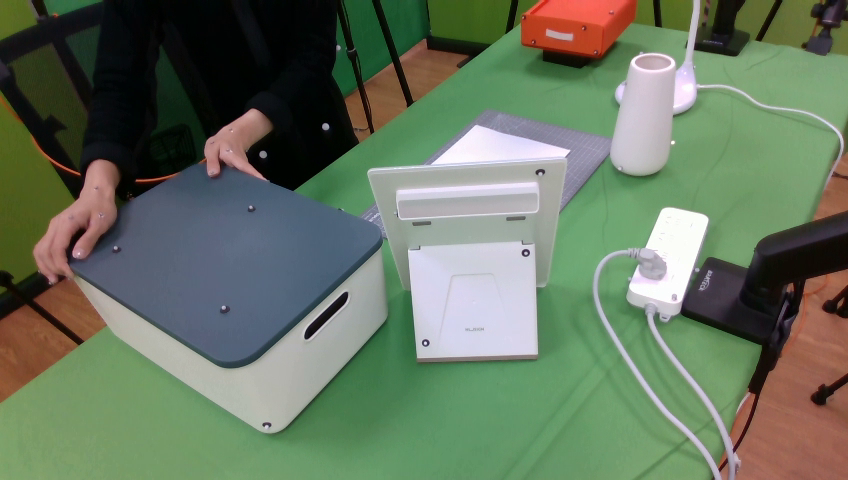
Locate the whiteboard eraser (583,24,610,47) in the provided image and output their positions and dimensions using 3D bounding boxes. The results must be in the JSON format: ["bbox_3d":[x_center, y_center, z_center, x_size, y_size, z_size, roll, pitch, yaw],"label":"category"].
[{"bbox_3d":[0.407,-0.479,1.423,0.055,0.042,0.113,-3,10,20],"label":"whiteboard eraser"}]

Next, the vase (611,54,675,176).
[{"bbox_3d":[0.377,-0.209,1.031,0.098,0.201,0.097,-4,40,3],"label":"vase"}]

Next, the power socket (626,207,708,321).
[{"bbox_3d":[0.359,0.025,0.886,0.072,0.033,0.227,16,46,26],"label":"power socket"}]

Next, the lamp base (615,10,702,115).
[{"bbox_3d":[0.484,-0.364,1.211,0.180,0.181,0.159,-15,41,-14],"label":"lamp base"}]

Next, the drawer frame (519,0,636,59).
[{"bbox_3d":[0.362,-0.518,1.423,0.200,0.083,0.214,19,48,29],"label":"drawer frame"}]

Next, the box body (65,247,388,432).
[{"bbox_3d":[-0.256,0.065,0.826,0.361,0.161,0.255,20,48,29],"label":"box body"}]

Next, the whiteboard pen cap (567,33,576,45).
[{"bbox_3d":[0.339,-0.463,1.390,0.018,0.018,0.033,-2,44,5],"label":"whiteboard pen cap"}]

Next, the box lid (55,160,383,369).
[{"bbox_3d":[-0.262,0.007,0.774,0.369,0.015,0.264,22,47,28],"label":"box lid"}]

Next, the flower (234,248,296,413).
[{"bbox_3d":[-0.244,0.108,0.869,0.044,0.038,0.358,9,27,-32],"label":"flower"}]

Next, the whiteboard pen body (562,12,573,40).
[{"bbox_3d":[0.340,-0.506,1.430,0.017,0.017,0.140,-1,43,6],"label":"whiteboard pen body"}]

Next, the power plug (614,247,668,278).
[{"bbox_3d":[0.306,0.031,0.851,0.072,0.053,0.035,24,49,33],"label":"power plug"}]

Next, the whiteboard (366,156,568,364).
[{"bbox_3d":[0.059,0.050,0.738,0.217,0.307,0.143,-2,60,6],"label":"whiteboard"}]

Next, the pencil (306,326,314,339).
[{"bbox_3d":[-0.187,0.106,0.880,0.012,0.012,0.192,-27,41,-22],"label":"pencil"}]

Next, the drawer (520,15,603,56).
[{"bbox_3d":[0.359,-0.517,1.416,0.193,0.073,0.212,20,47,29],"label":"drawer"}]
